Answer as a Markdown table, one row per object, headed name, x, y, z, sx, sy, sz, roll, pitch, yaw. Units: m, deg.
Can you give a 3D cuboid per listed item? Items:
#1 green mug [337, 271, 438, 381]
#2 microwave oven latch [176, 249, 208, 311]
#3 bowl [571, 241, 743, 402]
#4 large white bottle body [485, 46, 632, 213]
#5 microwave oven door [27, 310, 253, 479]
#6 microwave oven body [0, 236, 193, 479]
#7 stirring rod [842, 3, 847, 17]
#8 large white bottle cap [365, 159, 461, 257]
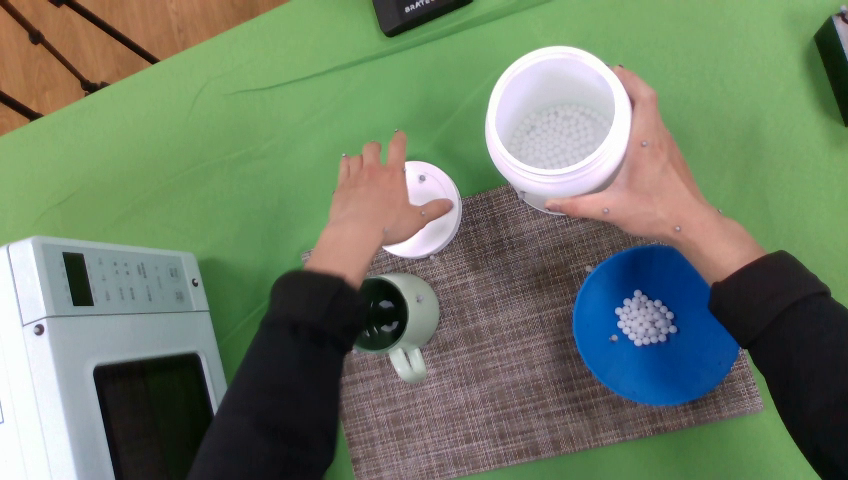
| name | x | y | z | sx | sy | sz | roll | pitch | yaw |
| --- | --- | --- | --- | --- | --- | --- | --- | --- | --- |
| green mug | -0.031 | 0.094 | 0.659 | 0.092 | 0.105 | 0.125 | -27 | 80 | 12 |
| microwave oven latch | -0.298 | 0.051 | 0.758 | 0.030 | 0.029 | 0.079 | -19 | 82 | 13 |
| bowl | 0.225 | 0.078 | 0.602 | 0.151 | 0.077 | 0.151 | -1 | 86 | 16 |
| large white bottle body | 0.130 | -0.101 | 0.585 | 0.130 | 0.185 | 0.130 | -1 | 86 | 15 |
| microwave oven door | -0.265 | 0.250 | 0.628 | 0.039 | 0.245 | 0.354 | -20 | 81 | 13 |
| microwave oven body | -0.409 | 0.258 | 0.674 | 0.325 | 0.261 | 0.440 | -19 | 82 | 13 |
| stirring rod | 0.454 | -0.162 | 0.539 | 0.175 | 0.006 | 0.014 | 41 | 132 | 14 |
| large white bottle cap | -0.014 | -0.037 | 0.709 | 0.114 | 0.018 | 0.114 | -1 | 85 | 15 |
